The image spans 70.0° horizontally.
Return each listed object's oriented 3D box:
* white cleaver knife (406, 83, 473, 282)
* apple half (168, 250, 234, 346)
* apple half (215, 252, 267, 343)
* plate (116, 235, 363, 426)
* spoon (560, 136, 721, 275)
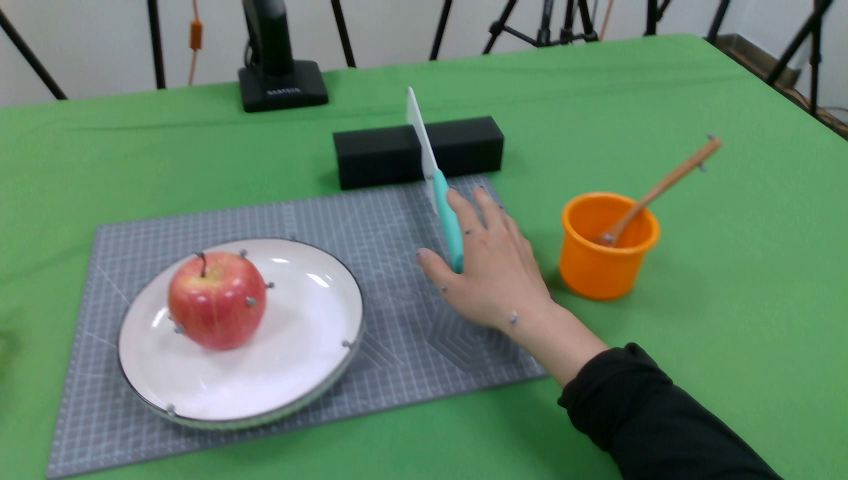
[{"bbox_3d":[0.012,-0.070,0.685,0.021,0.066,0.283,-8,53,-8],"label":"white cleaver knife"},{"bbox_3d":[-0.192,0.052,0.529,0.053,0.075,0.080,-3,46,1],"label":"apple half"},{"bbox_3d":[-0.153,0.051,0.530,0.033,0.082,0.080,-4,43,1],"label":"apple half"},{"bbox_3d":[-0.158,0.077,0.541,0.209,0.038,0.207,1,43,-1],"label":"plate"},{"bbox_3d":[0.212,-0.033,0.597,0.022,0.194,0.041,30,23,-39],"label":"spoon"}]
